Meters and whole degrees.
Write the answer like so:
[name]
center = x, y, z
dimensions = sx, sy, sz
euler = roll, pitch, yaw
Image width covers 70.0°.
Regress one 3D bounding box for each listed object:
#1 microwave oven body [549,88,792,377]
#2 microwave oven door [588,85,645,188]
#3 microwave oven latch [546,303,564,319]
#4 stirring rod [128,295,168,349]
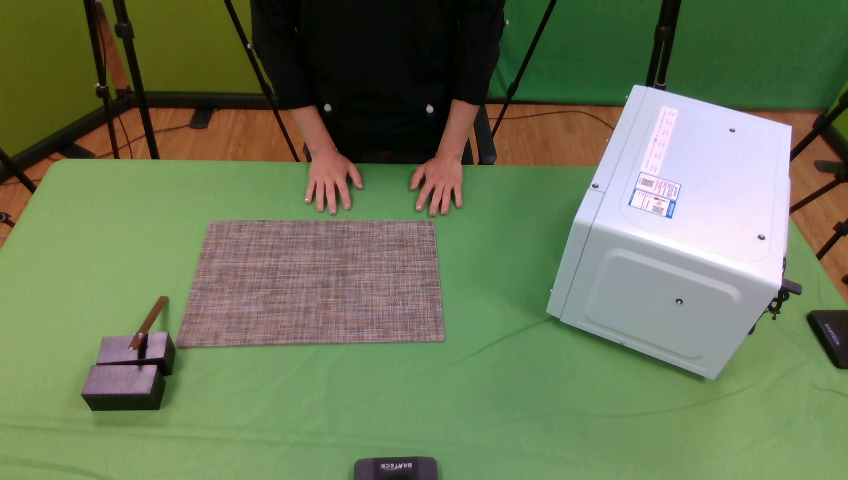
[microwave oven body]
center = 0.456, -0.028, 1.088
dimensions = 0.325, 0.261, 0.440
euler = 20, 47, 16
[microwave oven door]
center = 0.342, -0.107, 1.149
dimensions = 0.039, 0.245, 0.354
euler = 20, 48, 15
[microwave oven latch]
center = 0.242, 0.102, 1.081
dimensions = 0.030, 0.029, 0.079
euler = 21, 48, 17
[stirring rod]
center = -0.451, 0.131, 0.996
dimensions = 0.014, 0.006, 0.175
euler = 9, 21, -10
